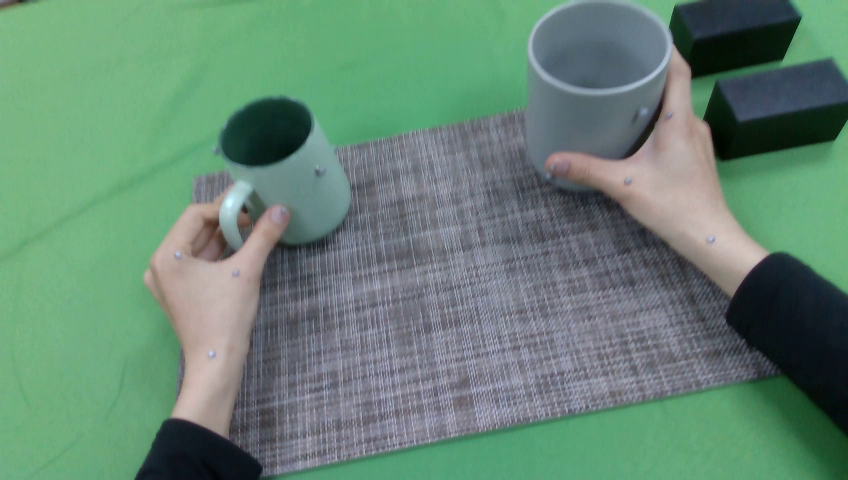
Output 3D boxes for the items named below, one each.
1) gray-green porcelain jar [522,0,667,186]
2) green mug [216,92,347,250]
[{"bbox_3d":[0.134,-0.116,0.503,0.106,0.128,0.105,-4,57,6],"label":"gray-green porcelain jar"},{"bbox_3d":[-0.127,-0.048,0.514,0.092,0.106,0.125,19,62,19],"label":"green mug"}]
